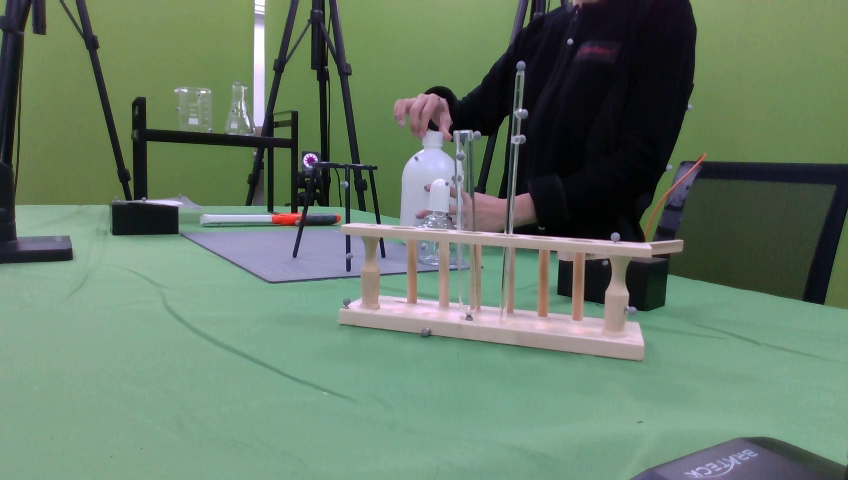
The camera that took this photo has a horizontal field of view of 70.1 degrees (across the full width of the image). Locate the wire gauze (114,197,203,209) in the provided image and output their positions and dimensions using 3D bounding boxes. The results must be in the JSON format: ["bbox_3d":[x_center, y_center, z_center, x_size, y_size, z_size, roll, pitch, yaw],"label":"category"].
[{"bbox_3d":[-0.447,-0.062,1.015,0.126,0.011,0.121,-2,8,-31],"label":"wire gauze"}]

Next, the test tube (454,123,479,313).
[{"bbox_3d":[0.034,-0.016,0.477,0.017,0.150,0.017,-2,9,1],"label":"test tube"}]

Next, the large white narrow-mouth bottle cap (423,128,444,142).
[{"bbox_3d":[0.016,-0.175,1.015,0.038,0.024,0.037,2,8,0],"label":"large white narrow-mouth bottle cap"}]

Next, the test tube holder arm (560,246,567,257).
[{"bbox_3d":[0.173,0.007,0.611,0.088,0.015,0.010,-3,9,-30],"label":"test tube holder arm"}]

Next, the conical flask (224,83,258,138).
[{"bbox_3d":[-0.422,-0.299,1.395,0.075,0.122,0.075,2,7,0],"label":"conical flask"}]

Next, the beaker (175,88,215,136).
[{"bbox_3d":[-0.511,-0.285,1.353,0.084,0.100,0.073,-2,8,-25],"label":"beaker"}]

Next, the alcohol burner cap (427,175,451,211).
[{"bbox_3d":[0.023,-0.064,0.822,0.034,0.048,0.034,7,5,0],"label":"alcohol burner cap"}]

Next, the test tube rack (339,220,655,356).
[{"bbox_3d":[0.056,0.032,0.495,0.242,0.085,0.067,4,7,15],"label":"test tube rack"}]

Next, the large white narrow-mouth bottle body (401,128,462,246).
[{"bbox_3d":[0.014,-0.092,1.028,0.102,0.194,0.102,2,8,0],"label":"large white narrow-mouth bottle body"}]

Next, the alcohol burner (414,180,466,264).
[{"bbox_3d":[0.021,-0.028,0.826,0.078,0.119,0.078,0,6,0],"label":"alcohol burner"}]

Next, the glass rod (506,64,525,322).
[{"bbox_3d":[0.069,-0.030,0.458,0.008,0.199,0.008,0,15,0],"label":"glass rod"}]

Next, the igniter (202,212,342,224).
[{"bbox_3d":[-0.298,-0.044,1.216,0.278,0.025,0.057,-2,-2,-32],"label":"igniter"}]

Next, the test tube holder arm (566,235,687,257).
[{"bbox_3d":[0.215,0.006,0.630,0.179,0.015,0.013,-3,9,-31],"label":"test tube holder arm"}]

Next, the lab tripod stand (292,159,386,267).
[{"bbox_3d":[-0.105,-0.039,0.798,0.148,0.131,0.148,2,5,0],"label":"lab tripod stand"}]
